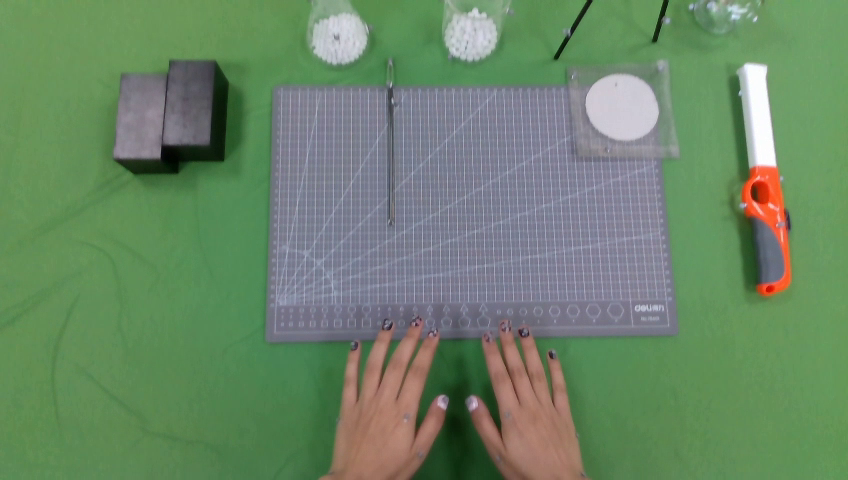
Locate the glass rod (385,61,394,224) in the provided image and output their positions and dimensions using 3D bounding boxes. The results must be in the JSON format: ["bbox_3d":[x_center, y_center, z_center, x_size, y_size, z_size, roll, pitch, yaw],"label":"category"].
[{"bbox_3d":[-0.040,-0.115,0.696,0.008,0.008,0.199,-1,78,-3],"label":"glass rod"}]

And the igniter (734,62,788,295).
[{"bbox_3d":[0.387,-0.074,0.698,0.057,0.025,0.275,3,78,-11],"label":"igniter"}]

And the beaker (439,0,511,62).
[{"bbox_3d":[0.054,-0.258,0.687,0.074,0.100,0.083,2,77,-2],"label":"beaker"}]

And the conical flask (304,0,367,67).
[{"bbox_3d":[-0.104,-0.252,0.668,0.075,0.122,0.075,0,78,-2],"label":"conical flask"}]

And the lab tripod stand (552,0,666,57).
[{"bbox_3d":[0.212,-0.280,0.680,0.148,0.132,0.148,0,80,-2],"label":"lab tripod stand"}]

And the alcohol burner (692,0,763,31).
[{"bbox_3d":[0.360,-0.295,0.698,0.078,0.119,0.077,0,80,0],"label":"alcohol burner"}]

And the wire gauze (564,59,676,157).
[{"bbox_3d":[0.233,-0.156,0.716,0.125,0.011,0.121,-1,79,-2],"label":"wire gauze"}]
